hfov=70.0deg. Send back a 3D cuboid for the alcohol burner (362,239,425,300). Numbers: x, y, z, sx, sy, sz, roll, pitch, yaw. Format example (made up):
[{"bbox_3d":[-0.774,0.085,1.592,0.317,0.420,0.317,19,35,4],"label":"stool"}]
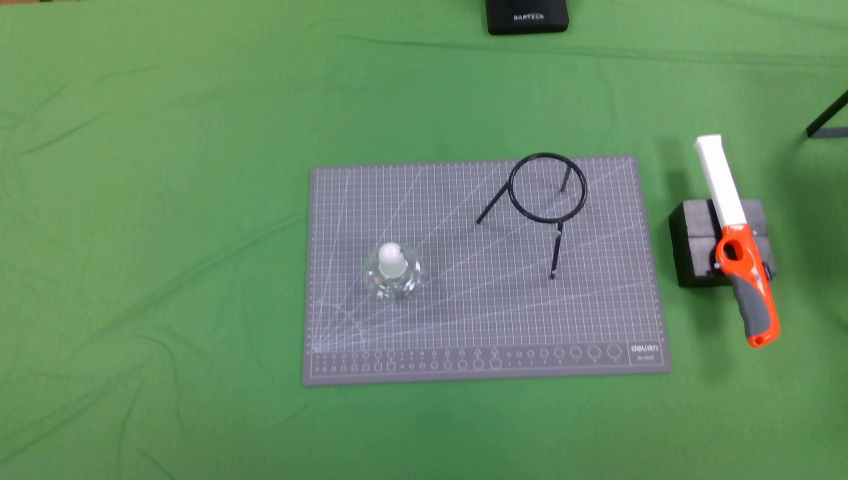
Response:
[{"bbox_3d":[-0.038,0.030,0.724,0.078,0.120,0.077,0,72,1],"label":"alcohol burner"}]

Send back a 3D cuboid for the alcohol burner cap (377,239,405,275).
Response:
[{"bbox_3d":[-0.039,0.017,0.691,0.034,0.048,0.033,0,63,-1],"label":"alcohol burner cap"}]

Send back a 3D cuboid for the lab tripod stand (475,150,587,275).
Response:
[{"bbox_3d":[0.140,-0.044,0.740,0.148,0.132,0.147,0,68,1],"label":"lab tripod stand"}]

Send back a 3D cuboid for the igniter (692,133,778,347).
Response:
[{"bbox_3d":[0.376,-0.007,0.737,0.057,0.025,0.274,-5,68,1],"label":"igniter"}]
